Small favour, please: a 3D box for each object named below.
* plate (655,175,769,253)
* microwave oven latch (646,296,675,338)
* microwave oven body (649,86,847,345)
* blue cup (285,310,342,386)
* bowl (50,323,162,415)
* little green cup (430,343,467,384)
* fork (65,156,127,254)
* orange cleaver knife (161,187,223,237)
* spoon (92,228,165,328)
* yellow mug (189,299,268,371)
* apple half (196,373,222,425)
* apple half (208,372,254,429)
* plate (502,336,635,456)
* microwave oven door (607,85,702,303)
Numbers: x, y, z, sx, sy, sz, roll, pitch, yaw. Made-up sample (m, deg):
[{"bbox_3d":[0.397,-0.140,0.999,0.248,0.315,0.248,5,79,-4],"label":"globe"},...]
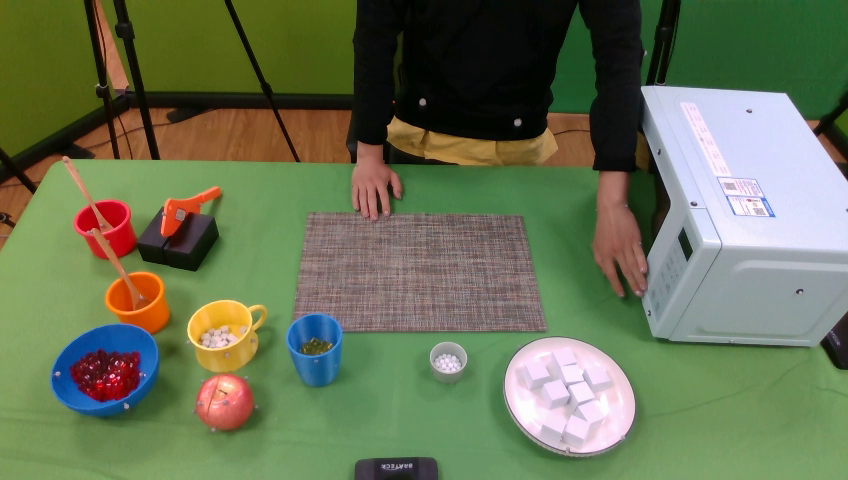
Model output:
[{"bbox_3d":[0.555,-0.047,1.182,0.209,0.038,0.208,1,45,-1],"label":"plate"},{"bbox_3d":[0.412,0.134,1.061,0.030,0.029,0.078,4,45,1],"label":"microwave oven latch"},{"bbox_3d":[0.568,-0.053,1.118,0.326,0.261,0.439,2,45,-1],"label":"microwave oven body"},{"bbox_3d":[-0.170,0.179,0.958,0.093,0.101,0.092,1,44,-1],"label":"blue cup"},{"bbox_3d":[-0.472,0.209,0.924,0.151,0.077,0.150,3,45,-2],"label":"bowl"},{"bbox_3d":[0.039,0.203,0.994,0.061,0.039,0.061,2,46,-2],"label":"little green cup"},{"bbox_3d":[-0.614,-0.064,1.130,0.028,0.018,0.207,-29,97,-16],"label":"fork"},{"bbox_3d":[-0.448,-0.058,1.180,0.012,0.077,0.211,13,17,6],"label":"orange cleaver knife"},{"bbox_3d":[-0.496,0.063,1.014,0.041,0.194,0.021,-34,12,-32],"label":"spoon"},{"bbox_3d":[-0.316,0.148,1.002,0.131,0.064,0.099,-32,56,-31],"label":"yellow mug"},{"bbox_3d":[-0.322,0.239,0.907,0.033,0.081,0.081,7,46,-1],"label":"apple half"},{"bbox_3d":[-0.282,0.244,0.908,0.053,0.075,0.080,7,43,-1],"label":"apple half"},{"bbox_3d":[0.225,0.248,0.963,0.208,0.039,0.206,2,46,-2],"label":"plate"},{"bbox_3d":[0.423,-0.094,1.140,0.039,0.245,0.353,2,46,-1],"label":"microwave oven door"}]
